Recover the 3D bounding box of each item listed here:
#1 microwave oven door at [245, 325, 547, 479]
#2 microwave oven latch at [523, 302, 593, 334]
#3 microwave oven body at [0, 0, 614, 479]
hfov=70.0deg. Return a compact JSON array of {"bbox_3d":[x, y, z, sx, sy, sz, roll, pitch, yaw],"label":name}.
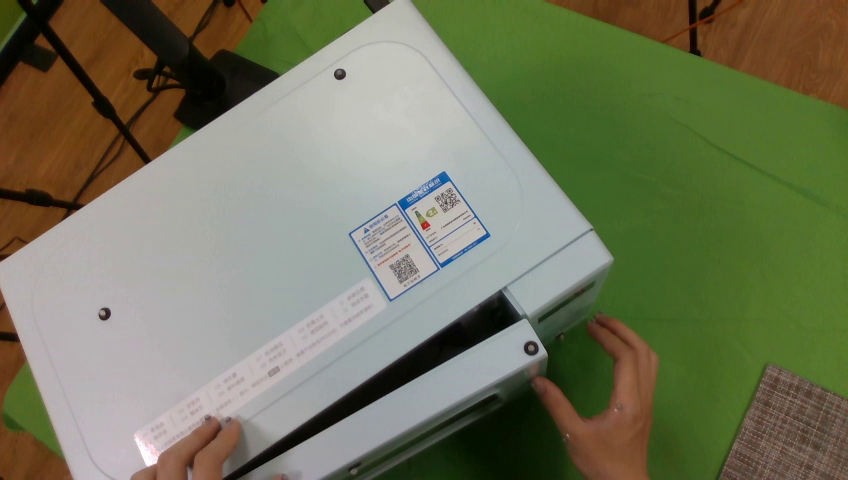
[{"bbox_3d":[-0.052,0.187,0.545,0.356,0.245,0.039,-29,70,1],"label":"microwave oven door"},{"bbox_3d":[0.142,0.081,0.650,0.079,0.030,0.030,-32,71,0],"label":"microwave oven latch"},{"bbox_3d":[-0.101,0.039,0.603,0.442,0.262,0.323,-34,71,0],"label":"microwave oven body"}]
